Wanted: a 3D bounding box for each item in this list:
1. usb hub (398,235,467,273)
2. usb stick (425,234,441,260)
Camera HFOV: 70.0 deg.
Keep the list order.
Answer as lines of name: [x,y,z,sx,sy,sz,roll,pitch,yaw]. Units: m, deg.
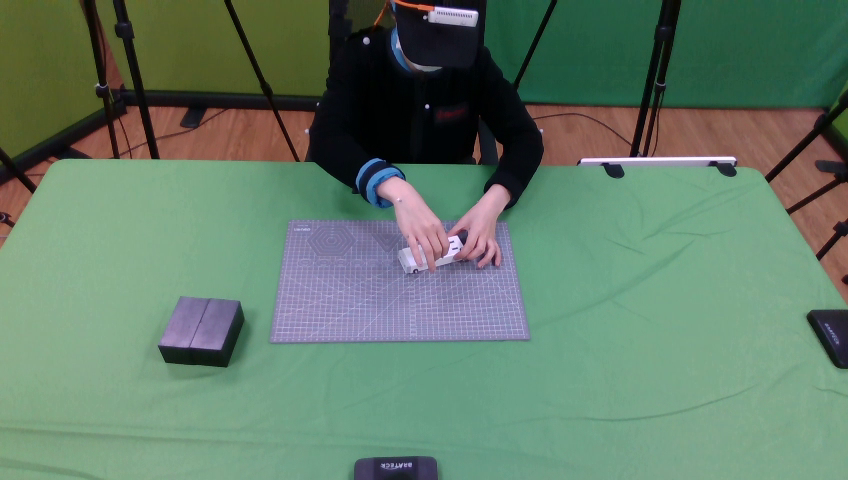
usb hub: [0.017,0.027,1.166,0.125,0.025,0.049,-14,50,-17]
usb stick: [0.016,0.018,1.133,0.021,0.059,0.027,-17,53,-17]
